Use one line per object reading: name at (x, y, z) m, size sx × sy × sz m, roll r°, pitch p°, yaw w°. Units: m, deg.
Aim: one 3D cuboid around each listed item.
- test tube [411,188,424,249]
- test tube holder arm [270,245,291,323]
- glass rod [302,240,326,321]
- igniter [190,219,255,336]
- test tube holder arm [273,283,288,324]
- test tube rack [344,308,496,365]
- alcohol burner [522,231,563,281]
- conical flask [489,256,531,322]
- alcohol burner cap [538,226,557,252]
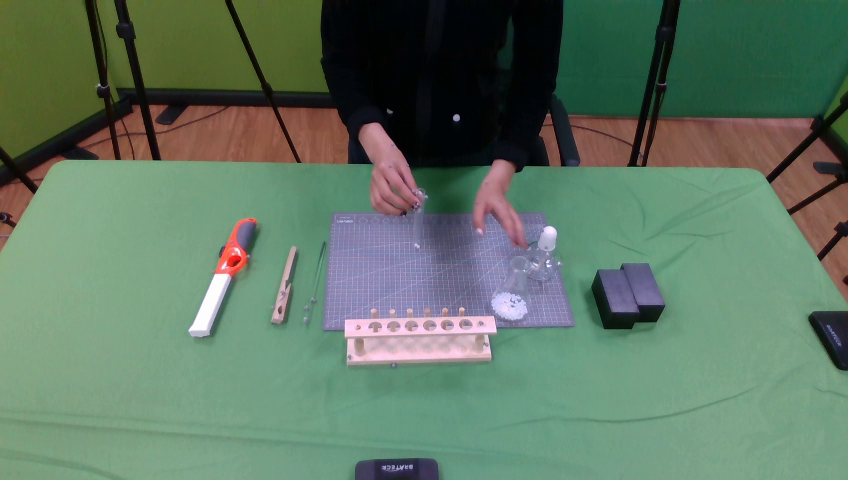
test tube at (-0.011, -0.034, 1.047) m, size 0.017 × 0.151 × 0.017 m, roll 2°, pitch 50°, yaw -2°
test tube holder arm at (-0.260, 0.076, 1.105) m, size 0.013 × 0.015 × 0.177 m, roll 30°, pitch 38°, yaw -30°
glass rod at (-0.203, 0.071, 1.123) m, size 0.008 × 0.008 × 0.198 m, roll 5°, pitch 44°, yaw 1°
igniter at (-0.365, 0.058, 1.110) m, size 0.057 × 0.025 × 0.275 m, roll -1°, pitch 45°, yaw 8°
test tube holder arm at (-0.254, 0.111, 1.077) m, size 0.010 × 0.015 × 0.087 m, roll 31°, pitch 37°, yaw -28°
test tube rack at (-0.009, 0.154, 1.006) m, size 0.242 × 0.085 × 0.066 m, roll -1°, pitch 46°, yaw -5°
alcohol burner at (0.224, 0.020, 1.131) m, size 0.078 × 0.119 × 0.077 m, roll 3°, pitch 46°, yaw -3°
conical flask at (0.158, 0.081, 1.060) m, size 0.075 × 0.122 × 0.075 m, roll 2°, pitch 46°, yaw -2°
alcohol burner cap at (0.226, -0.004, 1.104) m, size 0.034 × 0.048 × 0.033 m, roll -1°, pitch 50°, yaw 1°
